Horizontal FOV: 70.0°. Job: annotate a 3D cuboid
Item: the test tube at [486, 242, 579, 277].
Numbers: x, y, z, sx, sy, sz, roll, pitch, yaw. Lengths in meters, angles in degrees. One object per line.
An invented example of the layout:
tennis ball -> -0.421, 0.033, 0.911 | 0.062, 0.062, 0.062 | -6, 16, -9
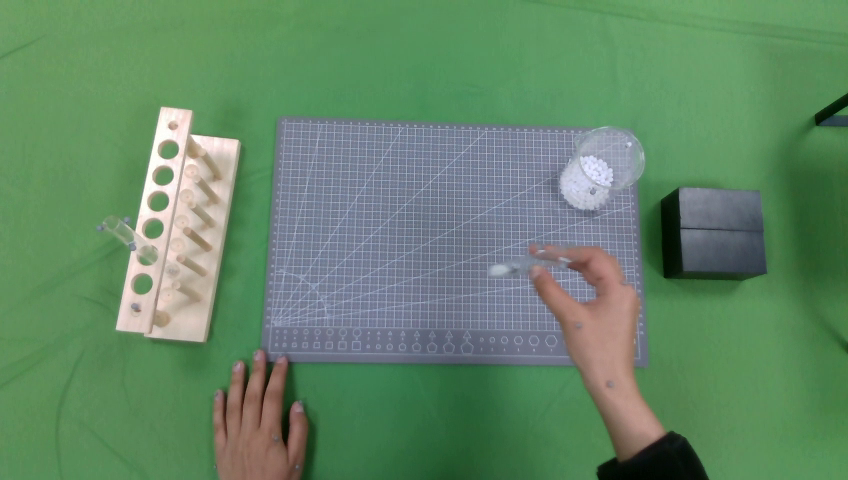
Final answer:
test tube -> 0.095, 0.020, 0.562 | 0.017, 0.150, 0.017 | 3, 80, -20

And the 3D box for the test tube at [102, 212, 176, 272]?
test tube -> -0.285, 0.006, 0.616 | 0.017, 0.151, 0.017 | 1, 70, -1

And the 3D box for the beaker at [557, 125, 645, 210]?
beaker -> 0.199, -0.082, 0.708 | 0.084, 0.100, 0.074 | 33, 77, 5

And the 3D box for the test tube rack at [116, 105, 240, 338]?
test tube rack -> -0.267, -0.017, 0.673 | 0.067, 0.085, 0.241 | 6, 77, -2
